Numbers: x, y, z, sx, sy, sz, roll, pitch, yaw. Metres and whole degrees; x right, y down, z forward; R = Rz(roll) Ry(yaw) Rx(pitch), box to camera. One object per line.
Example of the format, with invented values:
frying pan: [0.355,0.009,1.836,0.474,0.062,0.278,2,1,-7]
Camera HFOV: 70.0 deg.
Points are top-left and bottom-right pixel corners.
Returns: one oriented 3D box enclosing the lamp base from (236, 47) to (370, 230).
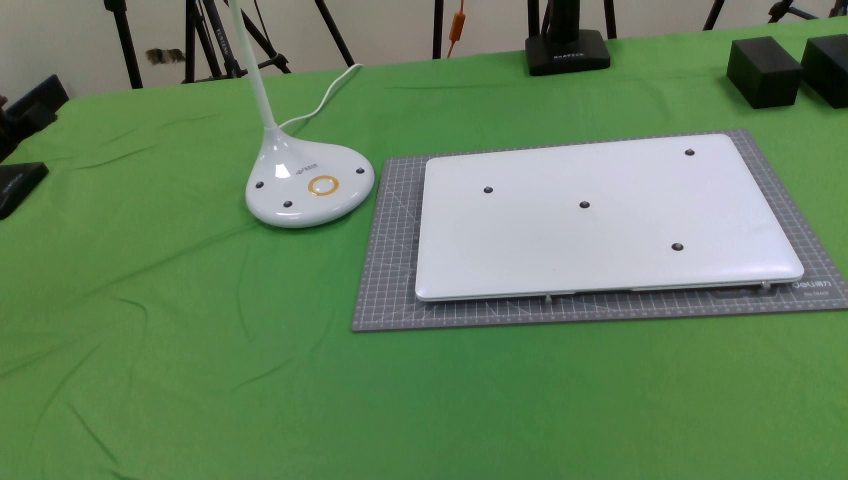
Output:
lamp base: [-0.165,-0.128,0.709,0.177,0.182,0.160,25,51,37]

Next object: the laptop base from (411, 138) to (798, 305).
laptop base: [0.167,-0.024,0.645,0.354,0.023,0.233,-4,44,7]

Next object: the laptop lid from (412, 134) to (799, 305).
laptop lid: [0.166,-0.031,0.636,0.356,0.013,0.239,-3,43,8]
